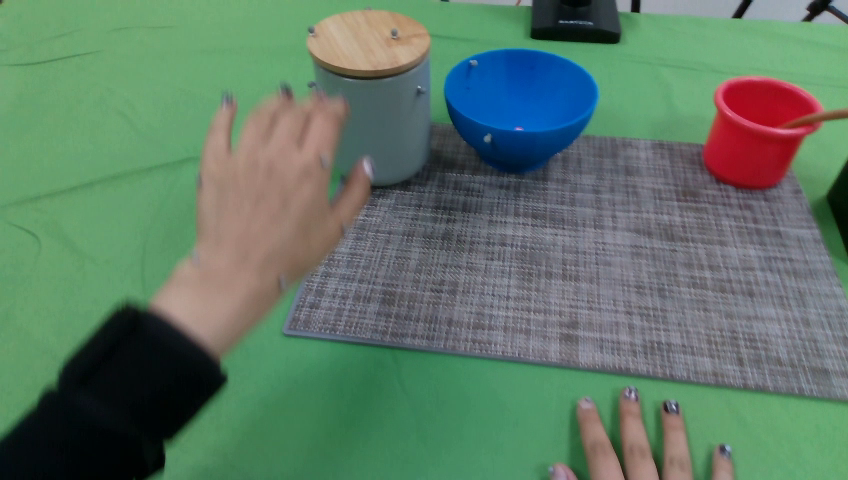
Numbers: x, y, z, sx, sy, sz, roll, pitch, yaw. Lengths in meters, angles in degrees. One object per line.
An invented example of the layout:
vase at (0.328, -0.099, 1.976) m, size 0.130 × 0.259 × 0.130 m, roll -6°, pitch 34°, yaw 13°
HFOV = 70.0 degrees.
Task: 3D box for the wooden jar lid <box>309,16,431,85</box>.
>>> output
wooden jar lid at (-0.048, -0.166, 0.540) m, size 0.108 × 0.021 × 0.107 m, roll 1°, pitch 45°, yaw 0°

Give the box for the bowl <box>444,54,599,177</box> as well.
bowl at (0.095, -0.117, 0.616) m, size 0.151 × 0.077 × 0.150 m, roll 0°, pitch 46°, yaw 0°

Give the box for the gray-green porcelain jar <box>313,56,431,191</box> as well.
gray-green porcelain jar at (-0.046, -0.120, 0.585) m, size 0.106 × 0.127 × 0.105 m, roll 0°, pitch 45°, yaw 0°

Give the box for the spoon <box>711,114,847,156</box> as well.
spoon at (0.347, -0.100, 0.551) m, size 0.041 × 0.193 × 0.022 m, roll -27°, pitch 96°, yaw -20°
